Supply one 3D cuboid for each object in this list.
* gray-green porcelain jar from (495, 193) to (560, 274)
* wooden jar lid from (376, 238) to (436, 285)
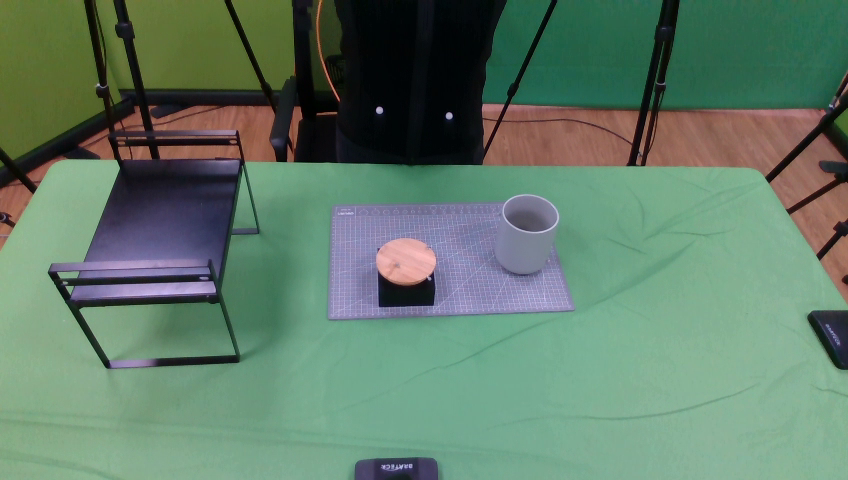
[{"bbox_3d":[0.191,-0.007,1.140,0.106,0.127,0.105,2,47,-2],"label":"gray-green porcelain jar"},{"bbox_3d":[-0.033,0.040,1.084,0.108,0.021,0.107,3,46,-3],"label":"wooden jar lid"}]
